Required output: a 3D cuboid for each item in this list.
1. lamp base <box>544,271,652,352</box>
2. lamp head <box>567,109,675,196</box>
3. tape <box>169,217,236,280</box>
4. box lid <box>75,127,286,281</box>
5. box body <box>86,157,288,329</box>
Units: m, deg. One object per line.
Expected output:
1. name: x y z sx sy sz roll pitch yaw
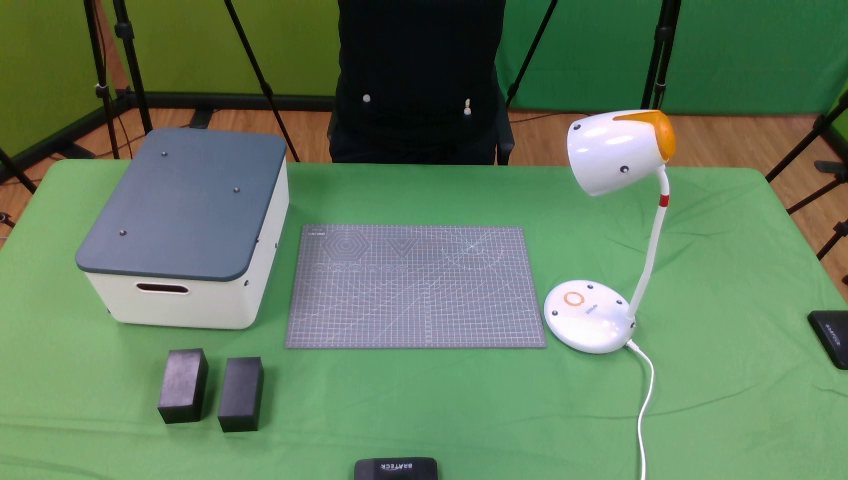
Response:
1. lamp base: 0.309 0.086 1.029 0.178 0.181 0.160 32 52 21
2. lamp head: 0.272 -0.123 0.818 0.122 0.113 0.112 -9 35 37
3. tape: -0.409 0.015 1.122 0.117 0.053 0.116 2 46 -2
4. box lid: -0.398 -0.075 1.039 0.263 0.015 0.369 4 45 -1
5. box body: -0.401 -0.025 1.094 0.254 0.161 0.362 3 46 -1
